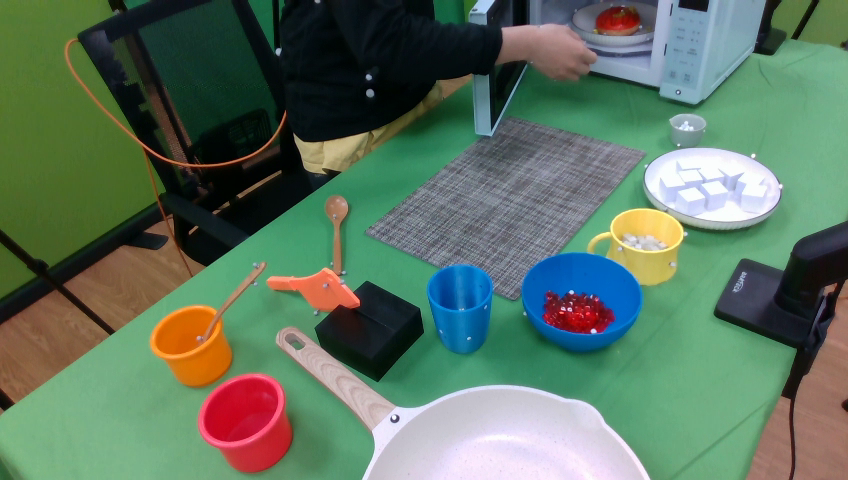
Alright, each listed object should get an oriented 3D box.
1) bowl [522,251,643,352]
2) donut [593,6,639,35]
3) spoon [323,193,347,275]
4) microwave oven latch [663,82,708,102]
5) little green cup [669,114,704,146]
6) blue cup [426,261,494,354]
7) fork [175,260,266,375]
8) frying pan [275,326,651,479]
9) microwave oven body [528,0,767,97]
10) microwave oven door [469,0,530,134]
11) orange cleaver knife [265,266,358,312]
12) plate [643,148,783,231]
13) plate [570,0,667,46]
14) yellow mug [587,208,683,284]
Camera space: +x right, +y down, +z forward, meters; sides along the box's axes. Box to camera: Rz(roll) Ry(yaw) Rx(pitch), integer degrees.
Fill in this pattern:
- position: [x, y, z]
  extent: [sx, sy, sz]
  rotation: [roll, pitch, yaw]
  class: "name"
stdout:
- position: [0.204, 0.093, 0.792]
  extent: [0.151, 0.077, 0.150]
  rotation: [-4, 40, 4]
  class: "bowl"
- position: [0.428, -0.489, 1.349]
  extent: [0.099, 0.048, 0.098]
  rotation: [-6, 40, 5]
  class: "donut"
- position: [-0.148, -0.014, 1.008]
  extent: [0.042, 0.022, 0.192]
  rotation: [1, 40, -9]
  class: "spoon"
- position: [0.518, -0.298, 1.202]
  extent: [0.078, 0.029, 0.030]
  rotation: [30, 53, 36]
  class: "microwave oven latch"
- position: [0.485, -0.203, 1.123]
  extent: [0.061, 0.039, 0.061]
  rotation: [-5, 40, 5]
  class: "little green cup"
- position: [0.050, 0.095, 0.791]
  extent: [0.092, 0.100, 0.092]
  rotation: [-3, 42, 3]
  class: "blue cup"
- position: [-0.268, 0.102, 0.792]
  extent: [0.207, 0.019, 0.028]
  rotation: [-51, 41, 16]
  class: "fork"
- position: [0.004, 0.229, 0.641]
  extent: [0.484, 0.103, 0.308]
  rotation: [34, 54, 28]
  class: "frying pan"
- position: [0.473, -0.516, 1.313]
  extent: [0.438, 0.261, 0.327]
  rotation: [26, 51, 34]
  class: "microwave oven body"
- position: [0.161, -0.413, 1.231]
  extent: [0.039, 0.245, 0.355]
  rotation: [9, 43, 18]
  class: "microwave oven door"
- position: [-0.164, 0.073, 0.864]
  extent: [0.210, 0.077, 0.012]
  rotation: [-6, 30, 50]
  class: "orange cleaver knife"
- position: [0.465, -0.080, 0.986]
  extent: [0.207, 0.039, 0.206]
  rotation: [-4, 41, 4]
  class: "plate"
- position: [0.436, -0.488, 1.367]
  extent: [0.209, 0.038, 0.208]
  rotation: [-4, 41, 4]
  class: "plate"
- position: [0.305, 0.009, 0.884]
  extent: [0.131, 0.064, 0.099]
  rotation: [-4, 41, 5]
  class: "yellow mug"
